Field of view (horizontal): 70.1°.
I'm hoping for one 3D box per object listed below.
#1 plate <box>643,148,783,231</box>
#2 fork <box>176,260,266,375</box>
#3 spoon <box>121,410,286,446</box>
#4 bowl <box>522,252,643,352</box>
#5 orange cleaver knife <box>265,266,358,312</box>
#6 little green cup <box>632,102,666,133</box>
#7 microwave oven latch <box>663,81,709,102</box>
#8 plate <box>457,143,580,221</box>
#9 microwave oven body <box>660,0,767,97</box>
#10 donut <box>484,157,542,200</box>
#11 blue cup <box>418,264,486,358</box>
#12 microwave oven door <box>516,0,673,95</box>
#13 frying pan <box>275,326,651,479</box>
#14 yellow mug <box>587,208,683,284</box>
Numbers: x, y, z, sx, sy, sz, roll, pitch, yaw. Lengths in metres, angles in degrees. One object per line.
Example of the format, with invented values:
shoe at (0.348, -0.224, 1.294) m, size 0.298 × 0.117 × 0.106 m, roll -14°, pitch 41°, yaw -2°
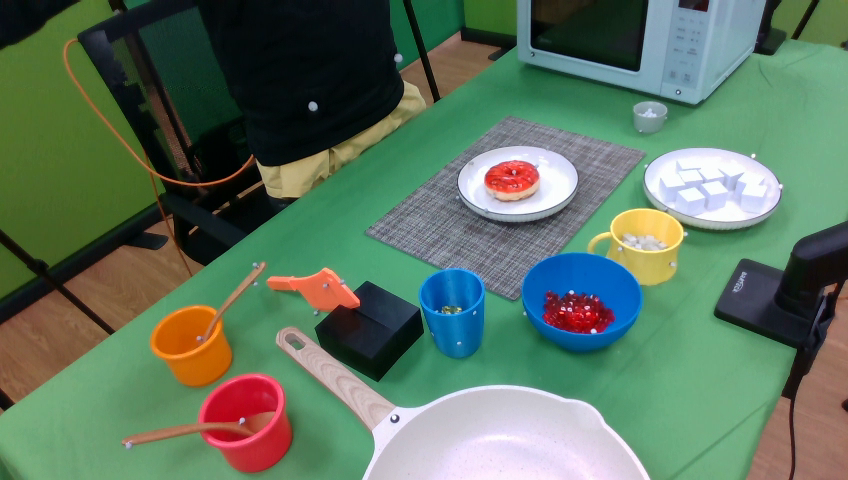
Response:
plate at (0.464, -0.080, 0.986) m, size 0.207 × 0.039 × 0.206 m, roll -4°, pitch 41°, yaw 4°
fork at (-0.268, 0.102, 0.793) m, size 0.207 × 0.019 × 0.028 m, roll -51°, pitch 40°, yaw 17°
spoon at (-0.236, 0.208, 0.670) m, size 0.041 × 0.021 × 0.195 m, roll 35°, pitch 12°, yaw 38°
bowl at (0.204, 0.093, 0.792) m, size 0.151 × 0.077 × 0.150 m, roll -4°, pitch 40°, yaw 4°
orange cleaver knife at (-0.164, 0.073, 0.864) m, size 0.210 × 0.077 × 0.012 m, roll -6°, pitch 31°, yaw 50°
little green cup at (0.434, -0.237, 1.171) m, size 0.061 × 0.039 × 0.061 m, roll -5°, pitch 40°, yaw 5°
microwave oven latch at (0.519, -0.299, 1.202) m, size 0.030 × 0.029 × 0.078 m, roll -37°, pitch 48°, yaw -29°
plate at (0.162, -0.097, 1.042) m, size 0.209 × 0.038 × 0.208 m, roll -4°, pitch 40°, yaw 4°
microwave oven body at (0.473, -0.516, 1.313) m, size 0.438 × 0.261 × 0.327 m, roll 26°, pitch 51°, yaw 34°
donut at (0.153, -0.108, 1.039) m, size 0.099 × 0.048 × 0.098 m, roll -6°, pitch 37°, yaw 5°
blue cup at (0.042, 0.100, 0.787) m, size 0.092 × 0.101 × 0.092 m, roll -5°, pitch 41°, yaw 5°
microwave oven door at (0.344, -0.458, 1.256) m, size 0.353 × 0.245 × 0.039 m, roll 26°, pitch 51°, yaw 33°
frying pan at (0.003, 0.229, 0.641) m, size 0.484 × 0.103 × 0.308 m, roll 34°, pitch 54°, yaw 28°
yellow mug at (0.305, 0.009, 0.884) m, size 0.131 × 0.064 × 0.099 m, roll -4°, pitch 40°, yaw 5°
